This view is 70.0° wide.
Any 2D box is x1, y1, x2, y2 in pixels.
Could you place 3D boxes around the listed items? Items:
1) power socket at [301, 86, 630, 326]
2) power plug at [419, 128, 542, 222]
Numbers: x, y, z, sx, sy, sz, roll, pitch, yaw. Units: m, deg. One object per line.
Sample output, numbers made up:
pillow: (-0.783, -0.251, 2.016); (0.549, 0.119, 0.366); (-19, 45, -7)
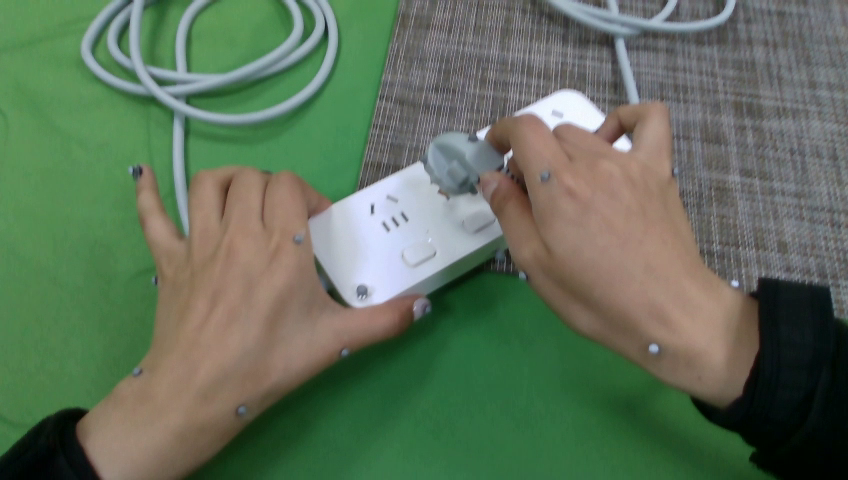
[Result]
power socket: (0.030, -0.027, 0.375); (0.227, 0.033, 0.071); (-29, 67, -16)
power plug: (0.024, -0.029, 0.334); (0.035, 0.053, 0.072); (-25, 81, -24)
